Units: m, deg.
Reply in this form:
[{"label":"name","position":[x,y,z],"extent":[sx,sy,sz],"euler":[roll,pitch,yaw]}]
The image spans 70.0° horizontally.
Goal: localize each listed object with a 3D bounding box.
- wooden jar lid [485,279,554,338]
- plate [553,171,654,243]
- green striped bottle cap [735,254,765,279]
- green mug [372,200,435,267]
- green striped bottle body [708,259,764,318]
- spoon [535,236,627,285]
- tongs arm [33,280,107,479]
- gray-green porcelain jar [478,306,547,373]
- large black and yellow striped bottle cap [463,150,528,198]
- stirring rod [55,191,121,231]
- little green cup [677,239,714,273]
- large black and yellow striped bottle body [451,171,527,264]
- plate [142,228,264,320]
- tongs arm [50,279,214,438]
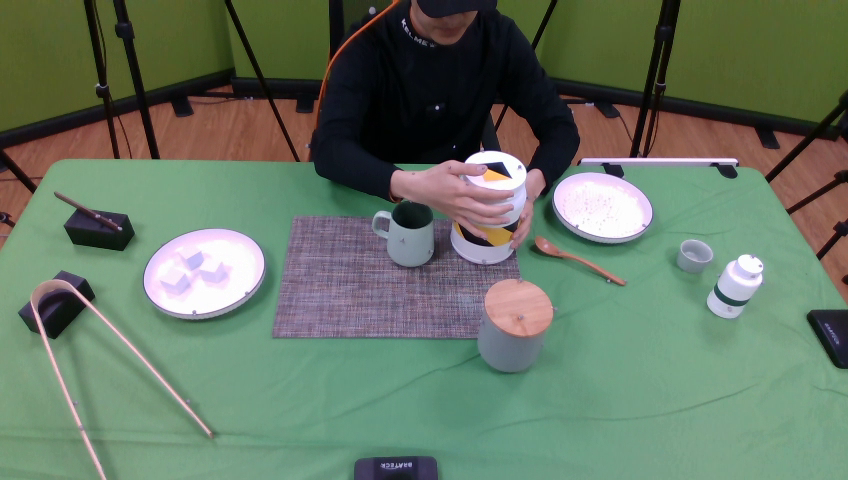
[{"label":"wooden jar lid","position":[0.147,0.108,0.940],"extent":[0.108,0.021,0.107],"euler":[4,48,-4]},{"label":"plate","position":[0.373,-0.066,1.274],"extent":[0.209,0.038,0.208],"euler":[2,46,-2]},{"label":"green striped bottle cap","position":[0.566,0.046,1.051],"extent":[0.044,0.020,0.044],"euler":[0,45,0]},{"label":"green mug","position":[-0.040,-0.016,1.146],"extent":[0.125,0.105,0.092],"euler":[16,48,11]},{"label":"green striped bottle body","position":[0.563,0.081,1.089],"extent":[0.063,0.120,0.063],"euler":[2,46,-2]},{"label":"spoon","position":[0.304,0.040,1.178],"extent":[0.193,0.022,0.041],"euler":[25,35,19]},{"label":"tongs arm","position":[-0.517,0.214,0.909],"extent":[0.051,0.026,0.383],"euler":[-29,63,-26]},{"label":"gray-green porcelain jar","position":[0.144,0.148,0.989],"extent":[0.106,0.127,0.105],"euler":[2,50,-2]},{"label":"large black and yellow striped bottle cap","position":[0.128,-0.119,1.081],"extent":[0.115,0.019,0.114],"euler":[1,46,-1]},{"label":"stirring rod","position":[-0.632,-0.055,1.138],"extent":[0.175,0.014,0.006],"euler":[24,51,19]},{"label":"little green cup","position":[0.530,0.033,1.189],"extent":[0.061,0.039,0.061],"euler":[2,47,-2]},{"label":"large black and yellow striped bottle body","position":[0.122,-0.059,1.142],"extent":[0.131,0.185,0.130],"euler":[2,46,-2]},{"label":"plate","position":[-0.394,0.064,1.095],"extent":[0.208,0.039,0.206],"euler":[2,46,-2]},{"label":"tongs arm","position":[-0.459,0.178,0.949],"extent":[0.386,0.028,0.028],"euler":[37,60,17]}]
